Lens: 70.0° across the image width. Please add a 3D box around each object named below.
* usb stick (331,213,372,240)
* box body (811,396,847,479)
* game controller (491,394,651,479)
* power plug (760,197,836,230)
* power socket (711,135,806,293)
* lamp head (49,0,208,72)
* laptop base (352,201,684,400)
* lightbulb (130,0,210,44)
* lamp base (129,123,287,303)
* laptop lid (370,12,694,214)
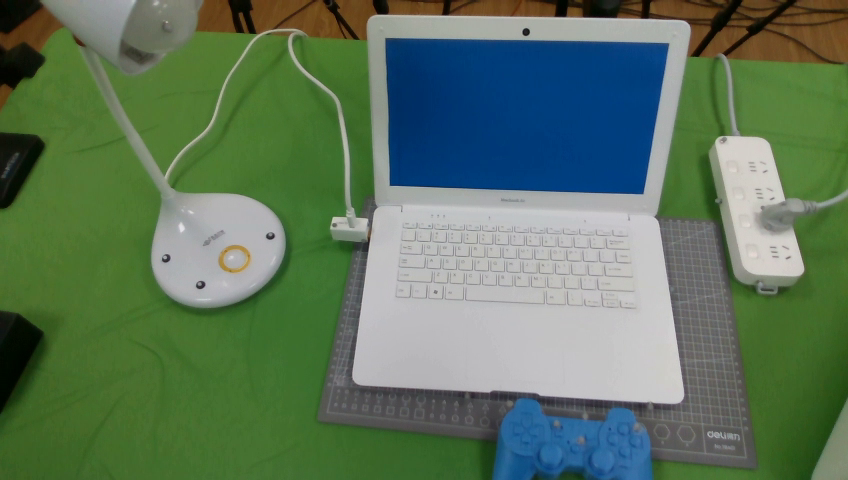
[{"bbox_3d":[-0.082,-0.016,0.745,0.059,0.027,0.021,7,53,2],"label":"usb stick"},{"bbox_3d":[0.561,0.154,0.546,0.252,0.162,0.363,35,66,21],"label":"box body"},{"bbox_3d":[0.146,0.206,0.598,0.155,0.052,0.096,5,57,5],"label":"game controller"},{"bbox_3d":[0.434,-0.024,0.710,0.072,0.053,0.035,14,59,9],"label":"power plug"},{"bbox_3d":[0.408,-0.042,0.749,0.072,0.033,0.225,4,58,3],"label":"power socket"},{"bbox_3d":[-0.224,-0.196,0.424,0.123,0.112,0.112,32,62,-6],"label":"lamp head"},{"bbox_3d":[0.105,0.063,0.704,0.354,0.023,0.233,2,62,4],"label":"laptop base"},{"bbox_3d":[-0.193,-0.190,0.420,0.059,0.059,0.108,-33,101,-17],"label":"lightbulb"},{"bbox_3d":[-0.264,-0.041,0.688,0.178,0.182,0.160,29,63,22],"label":"lamp base"},{"bbox_3d":[0.115,-0.140,0.710,0.356,0.243,0.013,1,28,4],"label":"laptop lid"}]
